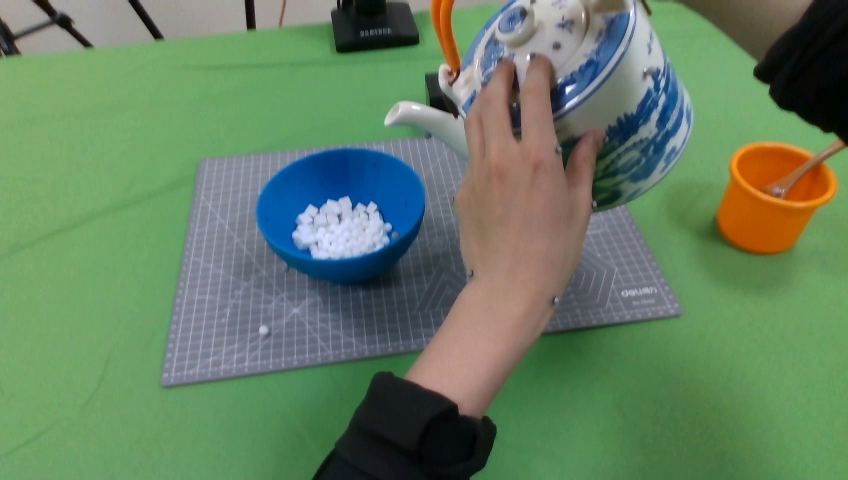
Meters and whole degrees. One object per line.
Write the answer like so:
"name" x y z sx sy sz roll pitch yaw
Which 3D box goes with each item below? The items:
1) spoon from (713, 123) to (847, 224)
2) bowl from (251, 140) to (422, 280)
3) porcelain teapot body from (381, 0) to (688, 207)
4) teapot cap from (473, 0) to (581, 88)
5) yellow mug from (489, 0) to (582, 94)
"spoon" 0.359 -0.077 0.559 0.022 0.194 0.041 27 34 -35
"bowl" -0.075 -0.016 0.561 0.151 0.077 0.150 -1 47 1
"porcelain teapot body" 0.071 -0.118 0.463 0.205 0.228 0.144 -26 51 28
"teapot cap" 0.068 -0.145 0.423 0.085 0.044 0.084 -21 55 33
"yellow mug" 0.118 -0.214 0.680 0.099 0.064 0.130 20 53 18
